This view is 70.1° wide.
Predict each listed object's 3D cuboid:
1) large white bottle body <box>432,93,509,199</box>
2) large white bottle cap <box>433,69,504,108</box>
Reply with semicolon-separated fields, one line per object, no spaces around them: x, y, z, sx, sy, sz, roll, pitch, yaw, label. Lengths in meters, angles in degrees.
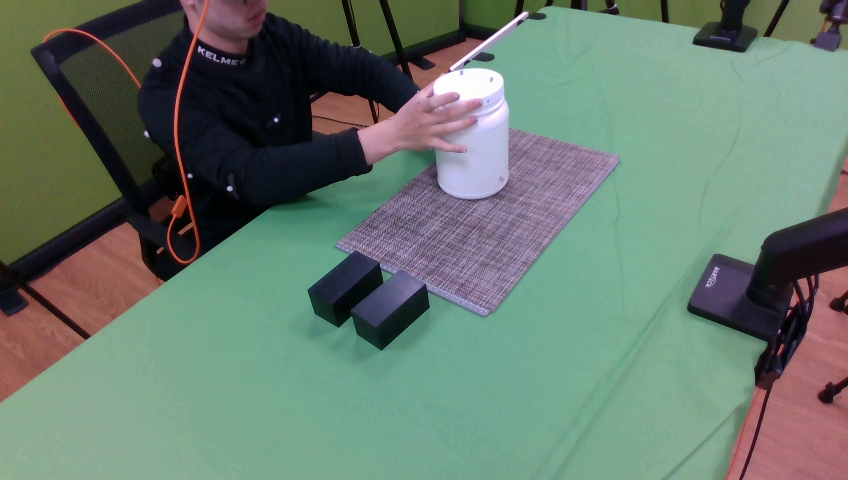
0.081;-0.178;1.032;0.130;0.185;0.130;-3;40;3;large white bottle body
0.071;-0.245;0.973;0.115;0.018;0.114;-4;38;4;large white bottle cap
